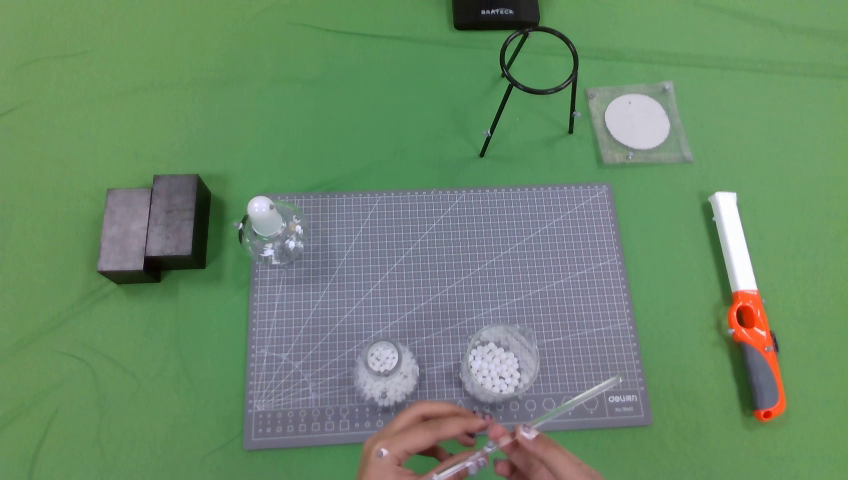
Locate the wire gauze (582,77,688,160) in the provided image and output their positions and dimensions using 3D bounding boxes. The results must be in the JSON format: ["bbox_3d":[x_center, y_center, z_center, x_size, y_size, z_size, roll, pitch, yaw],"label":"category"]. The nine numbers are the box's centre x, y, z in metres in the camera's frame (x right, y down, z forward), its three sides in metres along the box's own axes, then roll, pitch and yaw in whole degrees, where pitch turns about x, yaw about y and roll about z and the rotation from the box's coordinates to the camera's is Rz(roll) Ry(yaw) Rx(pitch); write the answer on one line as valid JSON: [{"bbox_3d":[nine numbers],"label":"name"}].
[{"bbox_3d":[0.281,-0.161,0.806,0.125,0.011,0.120,-3,71,-6],"label":"wire gauze"}]

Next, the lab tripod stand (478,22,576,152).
[{"bbox_3d":[0.123,-0.184,0.740,0.148,0.132,0.147,1,73,-2],"label":"lab tripod stand"}]

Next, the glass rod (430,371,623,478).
[{"bbox_3d":[0.088,0.140,0.474,0.200,0.008,0.008,-17,71,-30],"label":"glass rod"}]

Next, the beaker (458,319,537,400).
[{"bbox_3d":[0.076,0.129,0.645,0.073,0.101,0.084,43,74,12],"label":"beaker"}]

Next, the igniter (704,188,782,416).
[{"bbox_3d":[0.378,0.067,0.722,0.057,0.025,0.274,1,71,-14],"label":"igniter"}]

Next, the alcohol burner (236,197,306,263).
[{"bbox_3d":[-0.174,-0.018,0.676,0.078,0.120,0.077,0,71,0],"label":"alcohol burner"}]

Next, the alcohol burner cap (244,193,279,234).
[{"bbox_3d":[-0.174,-0.031,0.642,0.034,0.048,0.033,2,62,-4],"label":"alcohol burner cap"}]

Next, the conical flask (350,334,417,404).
[{"bbox_3d":[-0.043,0.127,0.628,0.075,0.122,0.075,1,70,-2],"label":"conical flask"}]
